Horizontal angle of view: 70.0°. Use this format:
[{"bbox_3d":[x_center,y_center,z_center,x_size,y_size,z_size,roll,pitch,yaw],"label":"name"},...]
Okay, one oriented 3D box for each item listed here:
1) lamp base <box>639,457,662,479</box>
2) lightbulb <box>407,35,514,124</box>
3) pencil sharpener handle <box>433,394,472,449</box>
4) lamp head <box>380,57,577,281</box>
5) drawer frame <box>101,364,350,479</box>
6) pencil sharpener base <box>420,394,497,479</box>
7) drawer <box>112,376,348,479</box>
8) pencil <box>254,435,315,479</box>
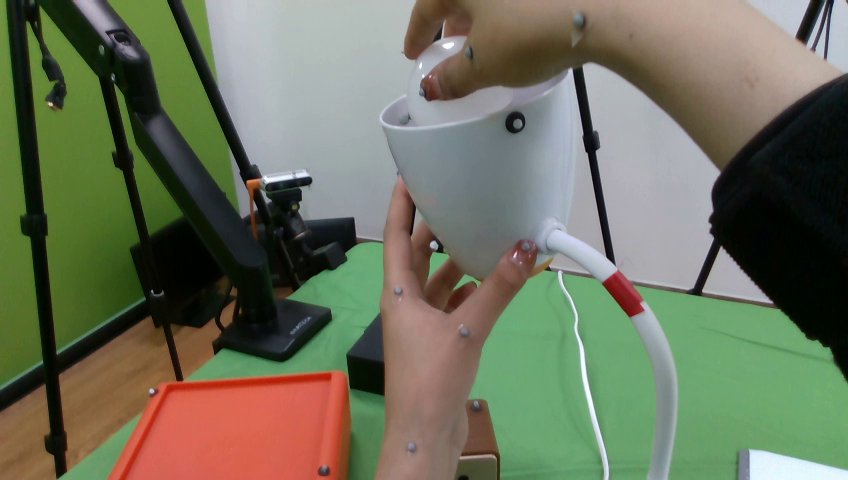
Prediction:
[{"bbox_3d":[0.143,0.238,0.364,0.161,0.181,0.178,-5,22,-6],"label":"lamp base"},{"bbox_3d":[0.029,-0.064,0.351,0.059,0.108,0.059,-18,23,8],"label":"lightbulb"},{"bbox_3d":[0.025,0.168,0.583,0.036,0.068,0.030,2,25,-4],"label":"pencil sharpener handle"},{"bbox_3d":[0.044,-0.036,0.364,0.112,0.124,0.111,-17,21,7],"label":"lamp head"},{"bbox_3d":[-0.176,0.214,0.556,0.202,0.083,0.212,-4,25,-2],"label":"drawer frame"},{"bbox_3d":[0.029,0.200,0.542,0.061,0.108,0.076,-3,25,-2],"label":"pencil sharpener base"},{"bbox_3d":[-0.174,0.217,0.554,0.194,0.074,0.210,-4,25,-2],"label":"drawer"},{"bbox_3d":[-0.172,0.233,0.527,0.194,0.012,0.012,-35,39,-30],"label":"pencil"}]
